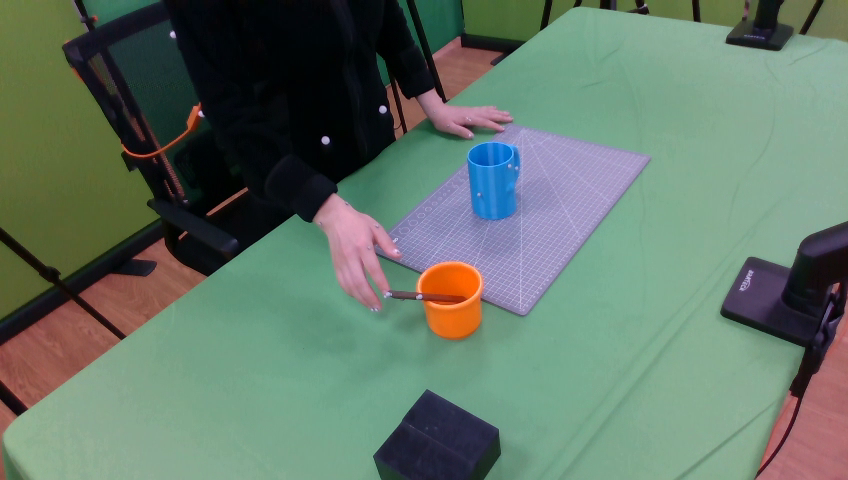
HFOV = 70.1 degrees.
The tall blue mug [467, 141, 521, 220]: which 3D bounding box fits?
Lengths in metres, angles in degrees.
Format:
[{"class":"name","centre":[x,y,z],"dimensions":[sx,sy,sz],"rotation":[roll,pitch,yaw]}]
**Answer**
[{"class":"tall blue mug","centre":[0.119,-0.109,1.020],"dimensions":[0.077,0.108,0.107],"rotation":[3,42,15]}]

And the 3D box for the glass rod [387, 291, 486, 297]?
[{"class":"glass rod","centre":[0.023,0.073,0.807],"dimensions":[0.008,0.008,0.201],"rotation":[31,17,38]}]
